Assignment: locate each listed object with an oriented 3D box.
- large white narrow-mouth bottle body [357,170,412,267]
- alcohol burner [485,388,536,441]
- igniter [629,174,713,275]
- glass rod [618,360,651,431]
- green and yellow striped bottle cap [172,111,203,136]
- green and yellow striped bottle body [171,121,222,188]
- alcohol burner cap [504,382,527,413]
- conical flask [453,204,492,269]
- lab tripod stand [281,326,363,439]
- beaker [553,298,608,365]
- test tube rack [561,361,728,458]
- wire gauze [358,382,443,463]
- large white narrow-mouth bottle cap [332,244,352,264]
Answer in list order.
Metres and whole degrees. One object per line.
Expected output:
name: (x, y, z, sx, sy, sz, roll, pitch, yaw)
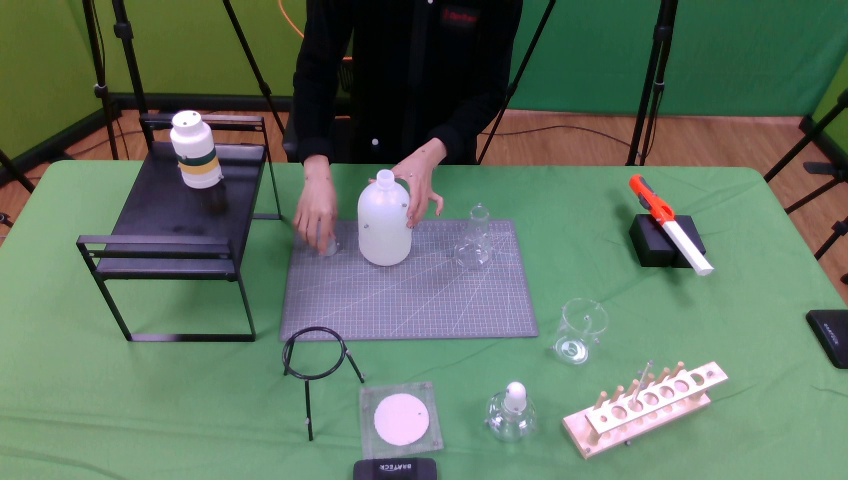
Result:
large white narrow-mouth bottle body: (-0.073, -0.047, 1.116, 0.102, 0.195, 0.101, 4, 46, -3)
alcohol burner: (0.131, 0.249, 0.904, 0.078, 0.120, 0.077, 1, 48, -1)
igniter: (0.481, -0.040, 1.202, 0.057, 0.025, 0.274, -2, 46, -21)
glass rod: (0.298, 0.227, 0.865, 0.008, 0.201, 0.008, -1, 48, 2)
green and yellow striped bottle cap: (-0.374, -0.185, 0.957, 0.045, 0.020, 0.045, 3, 46, -3)
green and yellow striped bottle body: (-0.375, -0.149, 0.995, 0.063, 0.120, 0.063, 2, 46, -2)
alcohol burner cap: (0.133, 0.225, 0.877, 0.034, 0.048, 0.033, -4, 47, 5)
conical flask: (0.097, -0.009, 1.140, 0.075, 0.122, 0.075, 2, 46, -2)
lab tripod stand: (-0.166, 0.203, 0.913, 0.148, 0.132, 0.147, 1, 47, -1)
beaker: (0.260, 0.154, 1.015, 0.073, 0.101, 0.084, 37, 54, 27)
test tube rack: (0.341, 0.248, 0.940, 0.243, 0.085, 0.066, -15, 49, -18)
wire gauze: (-0.039, 0.276, 0.937, 0.121, 0.011, 0.124, -4, 47, -7)
large white narrow-mouth bottle cap: (-0.156, 0.026, 1.154, 0.038, 0.024, 0.037, 4, 46, -4)
